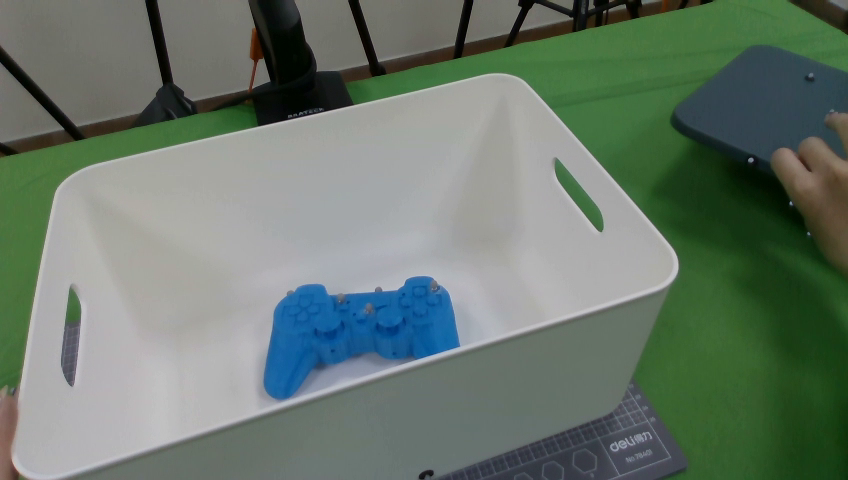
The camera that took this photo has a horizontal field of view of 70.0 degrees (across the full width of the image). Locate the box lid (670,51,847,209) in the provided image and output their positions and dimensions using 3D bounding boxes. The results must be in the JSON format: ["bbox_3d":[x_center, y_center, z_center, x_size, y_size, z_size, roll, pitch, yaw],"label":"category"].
[{"bbox_3d":[0.448,-0.083,0.573,0.368,0.015,0.263,32,48,27],"label":"box lid"}]

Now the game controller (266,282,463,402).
[{"bbox_3d":[-0.047,0.076,0.486,0.155,0.052,0.096,-3,39,2],"label":"game controller"}]

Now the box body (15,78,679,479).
[{"bbox_3d":[-0.050,0.044,0.445,0.364,0.162,0.251,-16,45,-10],"label":"box body"}]
